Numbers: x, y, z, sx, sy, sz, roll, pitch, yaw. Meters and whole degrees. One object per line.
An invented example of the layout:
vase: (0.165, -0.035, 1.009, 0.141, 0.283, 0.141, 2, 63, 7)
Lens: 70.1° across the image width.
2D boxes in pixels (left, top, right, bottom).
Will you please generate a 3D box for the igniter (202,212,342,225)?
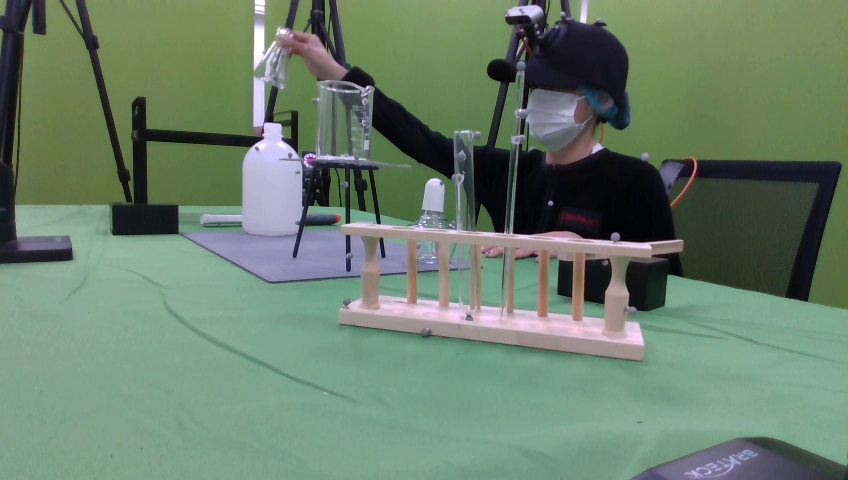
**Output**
igniter: (-0.298, -0.043, 1.216, 0.278, 0.025, 0.057, -3, -2, -32)

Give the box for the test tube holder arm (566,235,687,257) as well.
test tube holder arm: (0.215, 0.006, 0.630, 0.179, 0.015, 0.013, -3, 10, -30)

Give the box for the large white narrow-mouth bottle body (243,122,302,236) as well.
large white narrow-mouth bottle body: (-0.265, -0.109, 1.061, 0.102, 0.194, 0.102, 2, 8, 0)

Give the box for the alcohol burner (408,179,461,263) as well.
alcohol burner: (0.013, -0.029, 0.834, 0.078, 0.119, 0.078, 0, 6, 0)

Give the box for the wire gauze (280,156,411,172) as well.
wire gauze: (-0.103, -0.103, 0.785, 0.121, 0.011, 0.126, 11, 8, 42)

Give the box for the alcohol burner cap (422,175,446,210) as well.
alcohol burner cap: (0.016, -0.065, 0.830, 0.034, 0.048, 0.034, 7, 4, 0)

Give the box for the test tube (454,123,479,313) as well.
test tube: (0.034, -0.016, 0.477, 0.017, 0.150, 0.017, -2, 9, 1)

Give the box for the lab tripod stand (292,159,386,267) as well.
lab tripod stand: (-0.105, -0.039, 0.797, 0.148, 0.131, 0.148, 2, 5, 0)

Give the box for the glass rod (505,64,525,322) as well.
glass rod: (0.069, -0.030, 0.458, 0.008, 0.199, 0.008, 0, 15, 0)

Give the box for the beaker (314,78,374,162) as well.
beaker: (-0.101, -0.150, 0.774, 0.074, 0.100, 0.083, -2, 8, -40)

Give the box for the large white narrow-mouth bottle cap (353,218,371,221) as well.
large white narrow-mouth bottle cap: (-0.120, -0.029, 1.184, 0.038, 0.024, 0.037, 2, 8, 0)

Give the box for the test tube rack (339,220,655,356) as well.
test tube rack: (0.056, 0.032, 0.495, 0.242, 0.085, 0.067, 4, 7, 15)

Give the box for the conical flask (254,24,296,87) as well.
conical flask: (-0.309, -0.394, 1.291, 0.075, 0.122, 0.075, 20, 8, -2)

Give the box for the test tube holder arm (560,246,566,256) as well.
test tube holder arm: (0.173, 0.007, 0.611, 0.088, 0.015, 0.010, -3, 10, -30)
